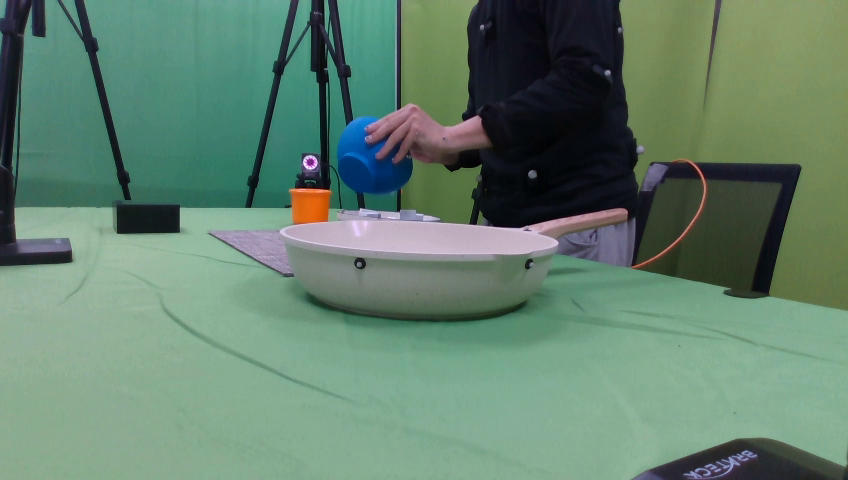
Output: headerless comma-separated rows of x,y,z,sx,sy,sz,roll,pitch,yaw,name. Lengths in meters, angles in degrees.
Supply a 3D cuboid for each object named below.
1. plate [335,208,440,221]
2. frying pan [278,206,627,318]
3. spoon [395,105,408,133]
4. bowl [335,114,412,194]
-0.073,-0.035,1.196,0.208,0.039,0.207,4,6,0,plate
0.079,0.002,0.705,0.490,0.102,0.305,-12,15,-33,frying pan
-0.064,-0.181,1.152,0.041,0.193,0.022,4,-31,26,spoon
-0.105,-0.138,1.078,0.150,0.151,0.077,7,38,31,bowl
